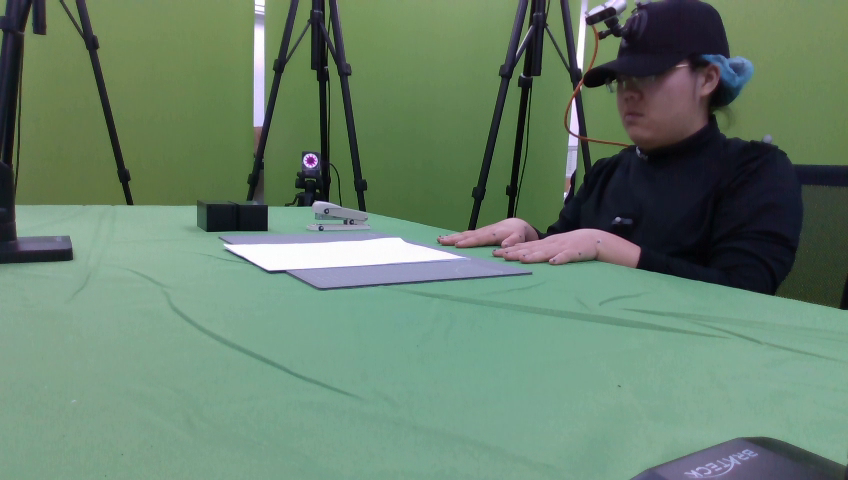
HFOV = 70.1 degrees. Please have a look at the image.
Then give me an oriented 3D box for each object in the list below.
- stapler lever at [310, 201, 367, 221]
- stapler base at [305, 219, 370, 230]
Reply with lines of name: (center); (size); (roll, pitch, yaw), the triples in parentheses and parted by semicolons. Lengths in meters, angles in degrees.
stapler lever: (-0.170, -0.057, 1.213); (0.119, 0.040, 0.026); (-1, 10, -34)
stapler base: (-0.173, -0.033, 1.215); (0.131, 0.024, 0.041); (0, 10, -35)
